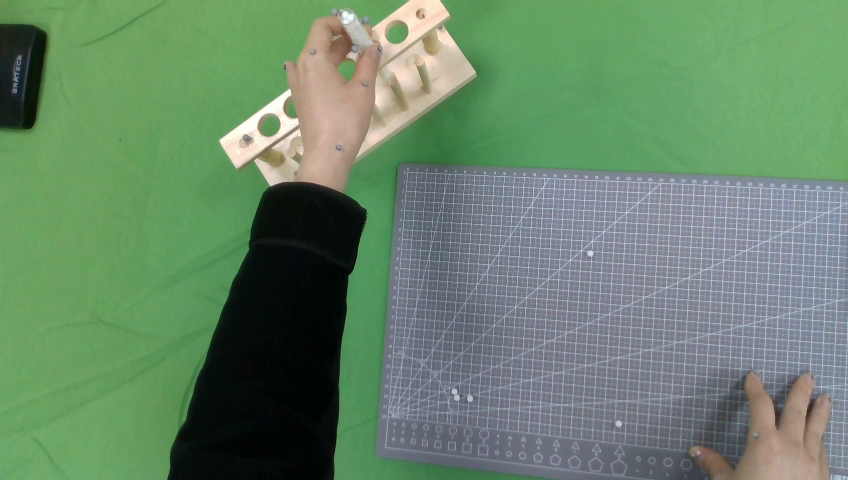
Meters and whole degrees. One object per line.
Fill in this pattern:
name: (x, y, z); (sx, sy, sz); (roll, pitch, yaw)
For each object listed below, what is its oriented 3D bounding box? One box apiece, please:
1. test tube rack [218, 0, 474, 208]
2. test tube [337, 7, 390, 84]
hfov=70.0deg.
test tube rack: (-0.072, -0.131, 0.598); (0.242, 0.085, 0.066); (-34, 82, 5)
test tube: (-0.051, -0.170, 0.547); (0.017, 0.150, 0.017); (0, 86, 8)
